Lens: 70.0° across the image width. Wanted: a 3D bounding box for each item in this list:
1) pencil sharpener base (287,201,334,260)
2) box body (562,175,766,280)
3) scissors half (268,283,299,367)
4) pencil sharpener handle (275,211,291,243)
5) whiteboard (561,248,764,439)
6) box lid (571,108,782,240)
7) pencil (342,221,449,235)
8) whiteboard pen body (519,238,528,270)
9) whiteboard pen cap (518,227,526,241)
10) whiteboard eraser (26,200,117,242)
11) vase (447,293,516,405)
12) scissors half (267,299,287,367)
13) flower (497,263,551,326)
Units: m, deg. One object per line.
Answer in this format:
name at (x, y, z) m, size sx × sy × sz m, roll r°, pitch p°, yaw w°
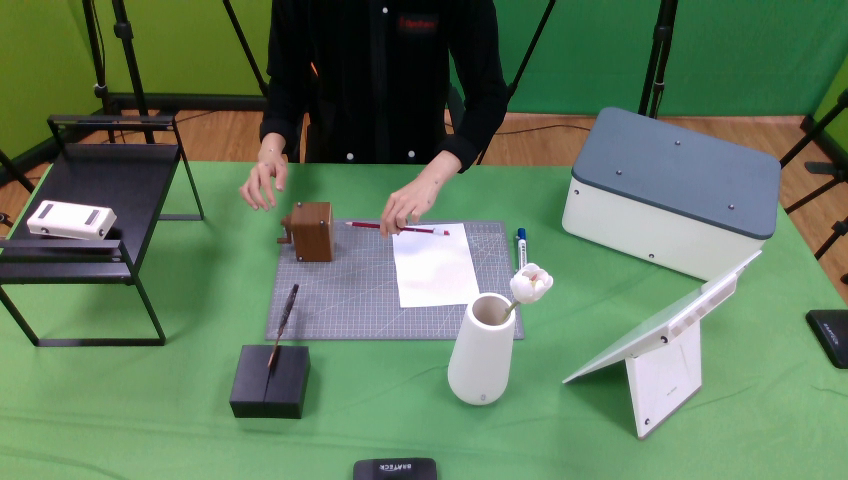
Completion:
pencil sharpener base at (-0.211, -0.016, 1.133) m, size 0.077 × 0.107 × 0.061 m, roll -1°, pitch 47°, yaw -4°
box body at (0.486, -0.088, 1.222) m, size 0.363 × 0.161 × 0.253 m, roll 20°, pitch 48°, yaw 15°
scissors half at (-0.230, 0.135, 0.986) m, size 0.013 × 0.040 × 0.174 m, roll 19°, pitch 43°, yaw -11°
pencil sharpener handle at (-0.262, -0.022, 1.118) m, size 0.031 × 0.068 × 0.036 m, roll -1°, pitch 37°, yaw -4°
whiteboard at (0.386, 0.176, 0.905) m, size 0.217 × 0.306 × 0.143 m, roll -26°, pitch 72°, yaw -27°
box lid at (0.491, -0.139, 1.168) m, size 0.370 × 0.015 × 0.262 m, roll 21°, pitch 49°, yaw 15°
pencil at (-0.051, -0.022, 1.093) m, size 0.194 × 0.012 × 0.012 m, roll 5°, pitch 46°, yaw -5°
whiteboard pen body at (0.193, 0.035, 1.180) m, size 0.017 × 0.017 × 0.140 m, roll 6°, pitch 48°, yaw 1°
whiteboard pen cap at (0.197, -0.009, 1.220) m, size 0.018 × 0.018 × 0.033 m, roll 6°, pitch 51°, yaw 1°
whiteboard eraser at (-0.532, -0.026, 0.919) m, size 0.113 × 0.042 × 0.055 m, roll 7°, pitch 45°, yaw 3°
vase at (0.091, 0.169, 0.921) m, size 0.098 × 0.201 × 0.097 m, roll 3°, pitch 47°, yaw -3°
scissors half at (-0.239, 0.150, 0.997) m, size 0.013 × 0.040 × 0.174 m, roll 24°, pitch 24°, yaw -13°
flower at (0.102, 0.121, 0.852) m, size 0.044 × 0.363 × 0.038 m, roll -1°, pitch 64°, yaw -9°
